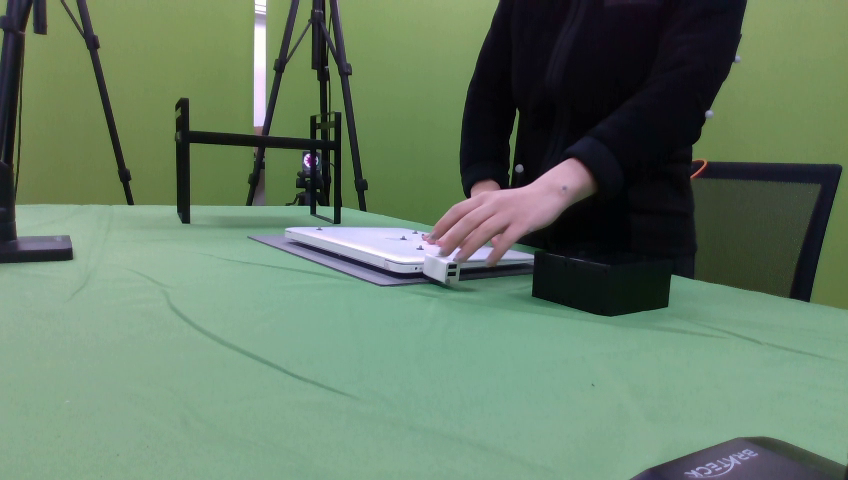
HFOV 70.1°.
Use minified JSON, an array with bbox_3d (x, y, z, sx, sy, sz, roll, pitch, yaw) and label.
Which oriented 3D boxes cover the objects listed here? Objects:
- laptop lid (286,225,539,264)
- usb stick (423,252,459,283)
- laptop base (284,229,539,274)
[{"bbox_3d":[-0.032,0.002,0.899,0.243,0.013,0.355,0,8,-34],"label":"laptop lid"},{"bbox_3d":[0.015,0.030,0.698,0.021,0.027,0.059,-7,13,-32],"label":"usb stick"},{"bbox_3d":[-0.034,0.013,0.898,0.237,0.023,0.352,1,7,-36],"label":"laptop base"}]
